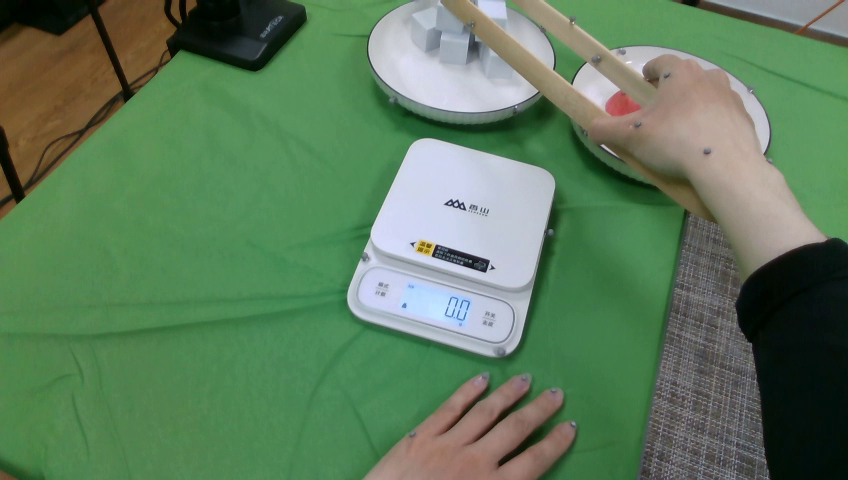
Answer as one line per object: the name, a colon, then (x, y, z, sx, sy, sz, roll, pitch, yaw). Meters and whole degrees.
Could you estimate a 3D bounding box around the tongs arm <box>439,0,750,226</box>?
tongs arm: (0.119, -0.139, 0.538, 0.028, 0.028, 0.383, -17, 50, -28)

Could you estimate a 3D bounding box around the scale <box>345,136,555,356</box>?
scale: (0.029, -0.004, 0.537, 0.148, 0.032, 0.199, 15, 55, 7)

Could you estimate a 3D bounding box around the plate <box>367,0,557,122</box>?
plate: (0.041, -0.201, 0.677, 0.208, 0.039, 0.205, 2, 54, -2)

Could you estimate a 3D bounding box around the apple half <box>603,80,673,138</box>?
apple half: (0.236, -0.146, 0.644, 0.081, 0.033, 0.080, 1, 51, -1)

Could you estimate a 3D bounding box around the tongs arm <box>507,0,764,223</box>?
tongs arm: (0.160, -0.152, 0.555, 0.051, 0.027, 0.380, -17, 51, -24)

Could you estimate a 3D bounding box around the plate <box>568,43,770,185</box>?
plate: (0.252, -0.131, 0.641, 0.209, 0.038, 0.207, 2, 54, -3)
